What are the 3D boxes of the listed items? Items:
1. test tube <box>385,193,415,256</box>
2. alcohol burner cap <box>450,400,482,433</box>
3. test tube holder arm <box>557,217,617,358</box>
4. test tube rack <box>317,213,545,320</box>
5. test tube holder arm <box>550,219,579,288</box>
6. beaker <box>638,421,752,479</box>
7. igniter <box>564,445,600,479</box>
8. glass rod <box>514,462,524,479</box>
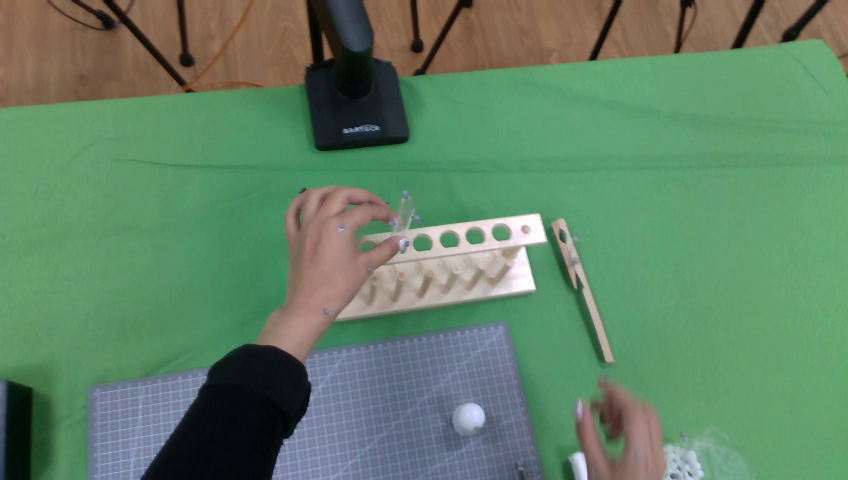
[{"bbox_3d":[-0.027,-0.008,0.605,0.017,0.151,0.017,3,68,-8],"label":"test tube"},{"bbox_3d":[0.046,0.184,0.638,0.034,0.048,0.033,3,69,-7],"label":"alcohol burner cap"},{"bbox_3d":[0.192,0.055,0.722,0.013,0.015,0.177,-26,71,21],"label":"test tube holder arm"},{"bbox_3d":[0.009,0.030,0.672,0.243,0.085,0.066,-7,70,-10],"label":"test tube rack"},{"bbox_3d":[0.174,0.017,0.737,0.010,0.015,0.087,-25,71,22],"label":"test tube holder arm"},{"bbox_3d":[0.271,0.234,0.622,0.074,0.101,0.083,6,67,-5],"label":"beaker"},{"bbox_3d":[0.189,0.350,0.605,0.057,0.025,0.274,-4,70,-20],"label":"igniter"},{"bbox_3d":[0.118,0.327,0.611,0.008,0.008,0.198,-8,70,-11],"label":"glass rod"}]
